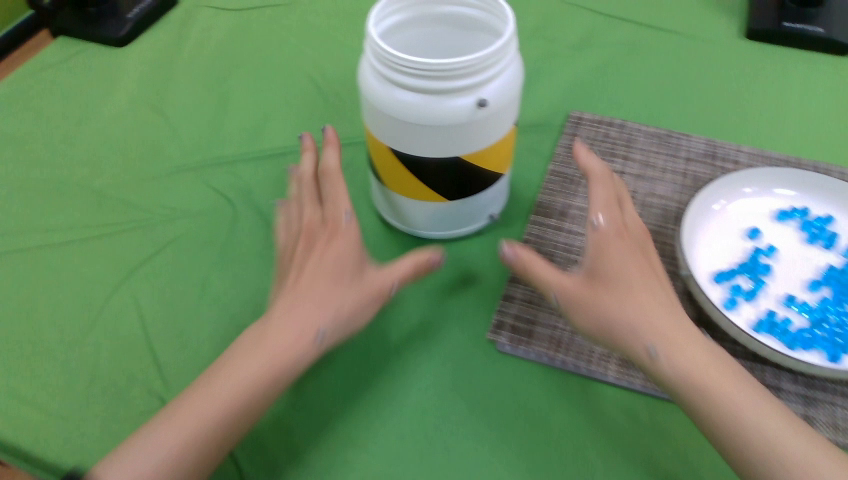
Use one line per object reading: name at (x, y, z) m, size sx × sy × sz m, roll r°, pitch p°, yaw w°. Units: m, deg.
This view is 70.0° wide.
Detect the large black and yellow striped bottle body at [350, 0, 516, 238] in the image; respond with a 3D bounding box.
large black and yellow striped bottle body at (0.008, -0.105, 0.512) m, size 0.131 × 0.185 × 0.129 m, roll -1°, pitch 51°, yaw 1°

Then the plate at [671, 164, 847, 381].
plate at (0.305, 0.023, 0.493) m, size 0.208 × 0.039 × 0.205 m, roll 0°, pitch 51°, yaw 1°
